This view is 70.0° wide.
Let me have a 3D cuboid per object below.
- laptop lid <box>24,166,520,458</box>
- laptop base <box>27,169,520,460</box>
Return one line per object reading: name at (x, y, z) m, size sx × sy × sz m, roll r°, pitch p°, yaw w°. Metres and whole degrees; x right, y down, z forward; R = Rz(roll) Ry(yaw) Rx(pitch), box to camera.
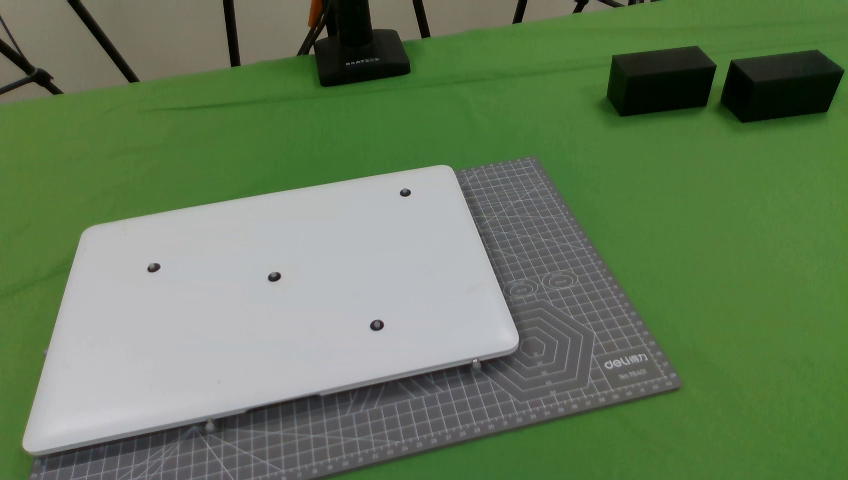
laptop lid at (-0.122, 0.036, 0.502) m, size 0.357 × 0.013 × 0.239 m, roll -10°, pitch 45°, yaw -5°
laptop base at (-0.121, 0.043, 0.512) m, size 0.355 × 0.023 × 0.233 m, roll -11°, pitch 46°, yaw -6°
